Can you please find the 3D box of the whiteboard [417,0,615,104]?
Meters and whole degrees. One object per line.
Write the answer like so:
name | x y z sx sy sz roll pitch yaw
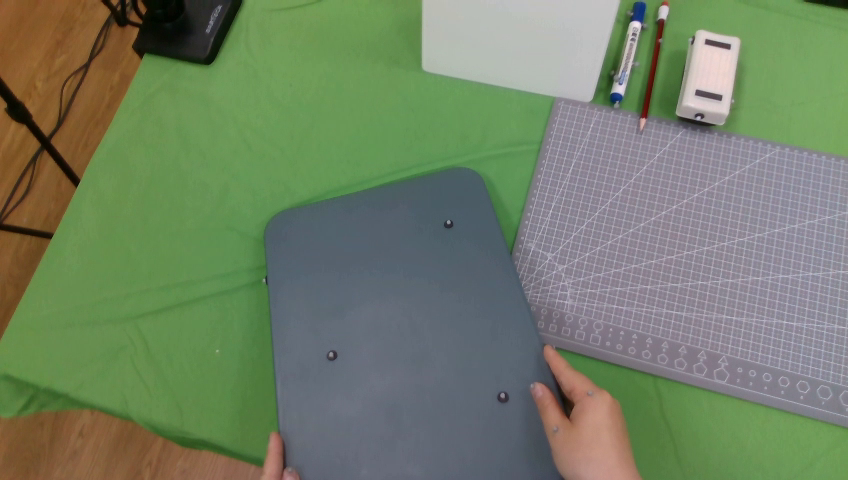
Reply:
whiteboard | 0.117 -0.335 0.673 0.216 0.308 0.143 14 53 10

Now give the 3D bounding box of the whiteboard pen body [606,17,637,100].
whiteboard pen body | 0.246 -0.235 0.747 0.017 0.017 0.140 16 73 10

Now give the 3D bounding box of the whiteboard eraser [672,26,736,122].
whiteboard eraser | 0.329 -0.194 0.714 0.055 0.042 0.112 14 73 11

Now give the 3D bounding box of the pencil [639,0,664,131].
pencil | 0.278 -0.217 0.742 0.012 0.012 0.193 12 72 9

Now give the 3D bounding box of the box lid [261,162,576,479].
box lid | -0.026 0.080 0.613 0.263 0.015 0.367 -14 57 -2

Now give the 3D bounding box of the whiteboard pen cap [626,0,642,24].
whiteboard pen cap | 0.265 -0.287 0.763 0.018 0.018 0.033 13 71 9
